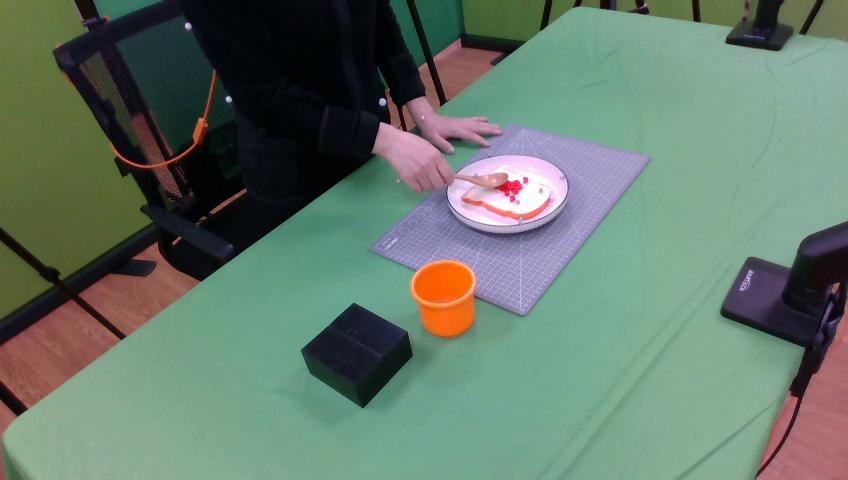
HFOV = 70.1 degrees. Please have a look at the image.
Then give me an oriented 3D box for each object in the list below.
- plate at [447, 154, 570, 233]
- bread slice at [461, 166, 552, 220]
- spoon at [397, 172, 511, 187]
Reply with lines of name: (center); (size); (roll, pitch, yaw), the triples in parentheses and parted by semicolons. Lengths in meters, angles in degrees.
plate: (0.143, -0.076, 1.032); (0.209, 0.038, 0.208); (-5, 40, 5)
bread slice: (0.149, -0.079, 1.036); (0.133, 0.018, 0.107); (22, 50, 31)
spoon: (0.051, -0.106, 1.019); (0.194, 0.022, 0.041); (2, 36, -11)
